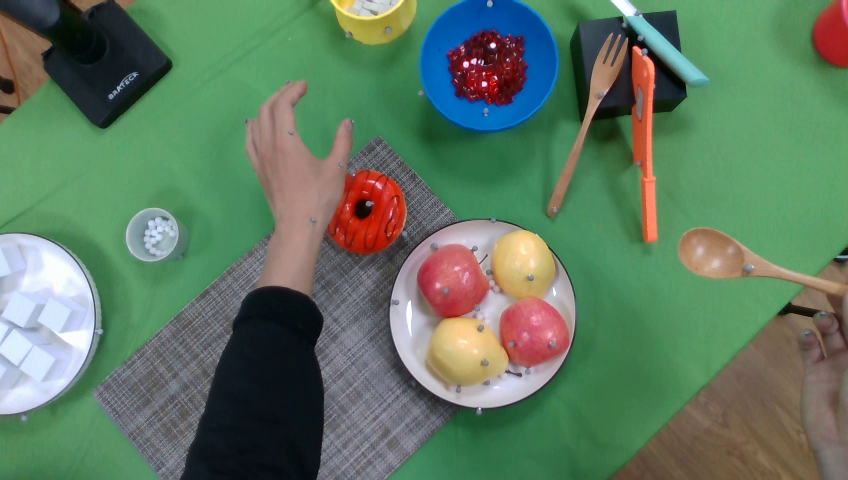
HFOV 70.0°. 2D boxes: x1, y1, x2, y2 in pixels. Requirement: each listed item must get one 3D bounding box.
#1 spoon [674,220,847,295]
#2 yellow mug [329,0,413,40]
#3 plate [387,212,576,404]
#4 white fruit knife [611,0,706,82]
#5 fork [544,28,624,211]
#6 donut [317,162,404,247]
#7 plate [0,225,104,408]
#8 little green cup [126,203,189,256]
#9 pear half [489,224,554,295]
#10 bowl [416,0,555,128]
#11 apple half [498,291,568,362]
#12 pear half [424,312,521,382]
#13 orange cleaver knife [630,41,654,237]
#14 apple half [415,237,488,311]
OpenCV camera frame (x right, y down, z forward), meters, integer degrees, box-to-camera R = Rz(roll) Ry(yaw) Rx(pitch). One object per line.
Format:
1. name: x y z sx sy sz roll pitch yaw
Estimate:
1. spoon: 0.298 0.027 0.483 0.192 0.022 0.041 19 86 20
2. yellow mug: -0.080 -0.298 0.706 0.131 0.064 0.100 15 86 5
3. plate: 0.063 0.074 0.677 0.209 0.038 0.208 0 85 2
4. white fruit knife: 0.229 -0.247 0.665 0.027 0.016 0.206 -37 81 -31
5. fork: 0.173 -0.128 0.670 0.028 0.018 0.208 16 106 -5
6. donut: -0.072 -0.040 0.690 0.099 0.048 0.099 0 87 4
7. plate: -0.469 0.087 0.702 0.207 0.039 0.207 0 85 3
8. little green cup: -0.307 -0.010 0.704 0.061 0.039 0.061 0 85 3
9. pear half: 0.105 0.028 0.665 0.070 0.031 0.088 -13 95 24
10. bowl: 0.067 -0.192 0.685 0.151 0.077 0.151 0 85 2
11. apple half: 0.112 0.096 0.656 0.081 0.033 0.081 3 99 21
12. pear half: 0.057 0.122 0.660 0.110 0.056 0.076 20 90 0
13. orange cleaver knife: 0.239 -0.109 0.668 0.012 0.077 0.212 -7 110 7
14. apple half: 0.029 0.039 0.664 0.074 0.053 0.080 -25 88 0
